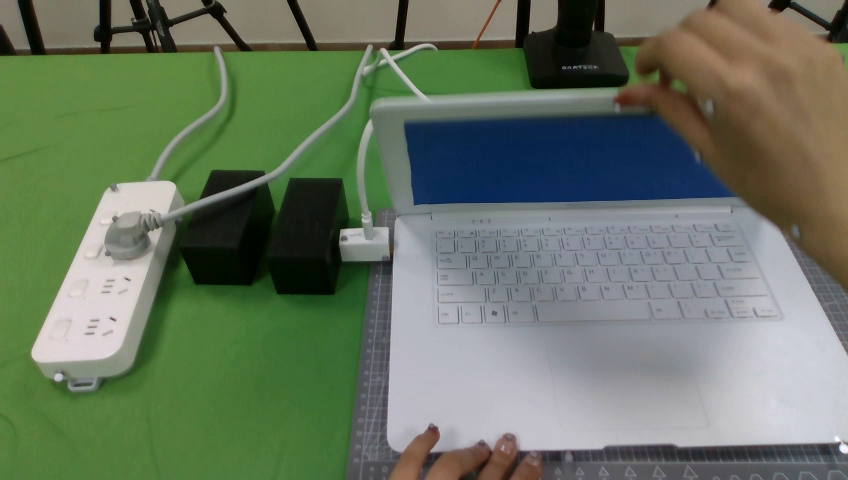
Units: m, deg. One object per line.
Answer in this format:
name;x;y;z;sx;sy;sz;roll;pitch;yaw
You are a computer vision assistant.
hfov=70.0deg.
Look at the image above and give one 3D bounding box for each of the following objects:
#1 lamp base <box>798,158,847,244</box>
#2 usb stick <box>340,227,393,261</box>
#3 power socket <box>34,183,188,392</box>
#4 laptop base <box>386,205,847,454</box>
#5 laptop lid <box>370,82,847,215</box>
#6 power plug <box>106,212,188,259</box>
lamp base;0.450;-0.097;0.531;0.159;0.182;0.179;30;50;27
usb stick;-0.045;0.004;0.544;0.059;0.027;0.021;1;45;-2
power socket;-0.268;0.027;0.538;0.072;0.033;0.224;-2;46;-2
laptop base;0.149;0.062;0.502;0.354;0.023;0.233;-1;50;0
laptop lid;0.145;-0.059;0.464;0.357;0.243;0.013;-2;76;2
power plug;-0.240;0.003;0.528;0.072;0.053;0.035;5;47;7
